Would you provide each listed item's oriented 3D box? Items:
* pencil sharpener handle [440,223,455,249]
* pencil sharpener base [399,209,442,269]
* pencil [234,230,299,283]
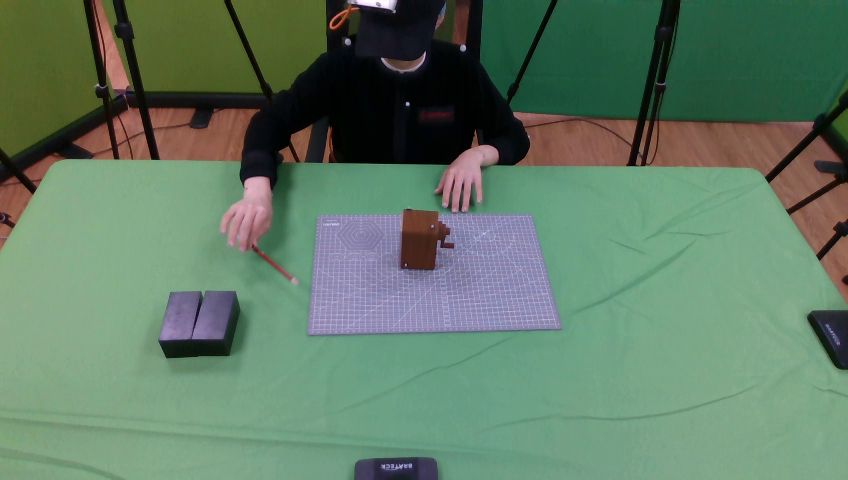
[{"bbox_3d":[0.045,-0.007,1.127,0.030,0.068,0.036,3,52,-1],"label":"pencil sharpener handle"},{"bbox_3d":[-0.007,0.000,1.134,0.077,0.107,0.061,3,46,-1],"label":"pencil sharpener base"},{"bbox_3d":[-0.286,0.030,1.098,0.193,0.012,0.012,33,52,30],"label":"pencil"}]
